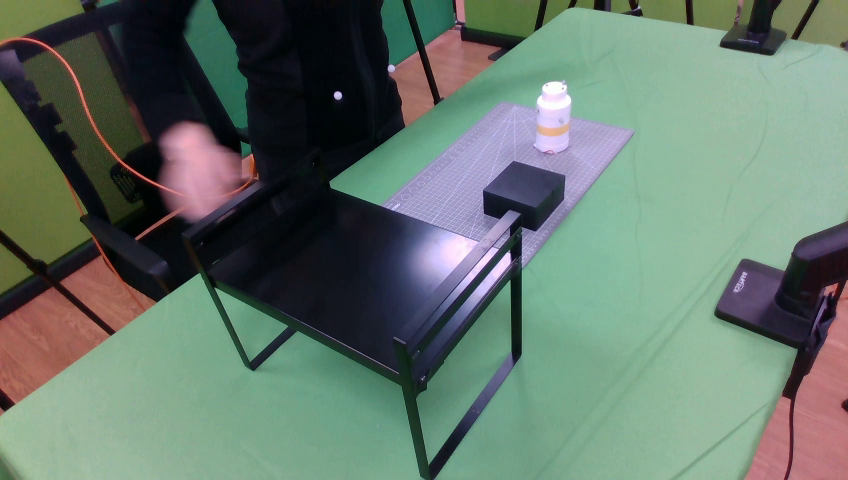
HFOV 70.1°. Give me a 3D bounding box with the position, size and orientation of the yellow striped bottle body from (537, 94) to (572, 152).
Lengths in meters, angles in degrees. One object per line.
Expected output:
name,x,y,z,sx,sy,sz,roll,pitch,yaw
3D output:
yellow striped bottle body,0.243,-0.230,1.127,0.063,0.121,0.062,-5,41,4

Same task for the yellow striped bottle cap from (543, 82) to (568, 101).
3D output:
yellow striped bottle cap,0.237,-0.269,1.093,0.044,0.019,0.044,-3,39,3
